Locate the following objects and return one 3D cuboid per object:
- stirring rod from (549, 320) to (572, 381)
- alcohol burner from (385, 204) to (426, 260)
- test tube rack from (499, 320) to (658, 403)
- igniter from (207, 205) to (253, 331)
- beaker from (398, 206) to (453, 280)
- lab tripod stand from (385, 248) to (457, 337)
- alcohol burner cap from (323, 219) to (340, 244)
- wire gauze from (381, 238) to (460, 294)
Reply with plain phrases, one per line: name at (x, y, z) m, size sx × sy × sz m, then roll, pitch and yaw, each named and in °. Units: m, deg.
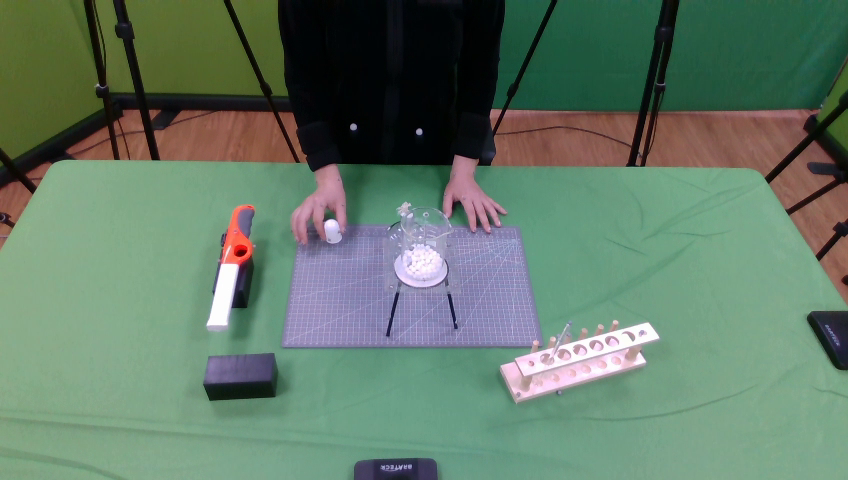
stirring rod at (0.202, 0.167, 0.901) m, size 0.006 × 0.177 × 0.014 m, roll -17°, pitch 54°, yaw -11°
alcohol burner at (-0.036, -0.020, 1.147) m, size 0.078 × 0.120 × 0.077 m, roll 1°, pitch 46°, yaw -1°
test tube rack at (0.252, 0.187, 0.994) m, size 0.243 × 0.085 × 0.066 m, roll -12°, pitch 48°, yaw -15°
igniter at (-0.339, 0.038, 1.066) m, size 0.057 × 0.025 × 0.274 m, roll 2°, pitch 48°, yaw -6°
beaker at (0.000, 0.008, 0.950) m, size 0.084 × 0.101 × 0.073 m, roll 10°, pitch 45°, yaw 6°
lab tripod stand at (-0.010, 0.087, 1.032) m, size 0.148 × 0.132 × 0.147 m, roll 1°, pitch 45°, yaw -1°
alcohol burner cap at (-0.179, -0.018, 1.160) m, size 0.034 × 0.048 × 0.033 m, roll -1°, pitch 48°, yaw 1°
wire gauze at (-0.007, 0.042, 0.985) m, size 0.125 × 0.011 × 0.120 m, roll -1°, pitch 43°, yaw -2°
